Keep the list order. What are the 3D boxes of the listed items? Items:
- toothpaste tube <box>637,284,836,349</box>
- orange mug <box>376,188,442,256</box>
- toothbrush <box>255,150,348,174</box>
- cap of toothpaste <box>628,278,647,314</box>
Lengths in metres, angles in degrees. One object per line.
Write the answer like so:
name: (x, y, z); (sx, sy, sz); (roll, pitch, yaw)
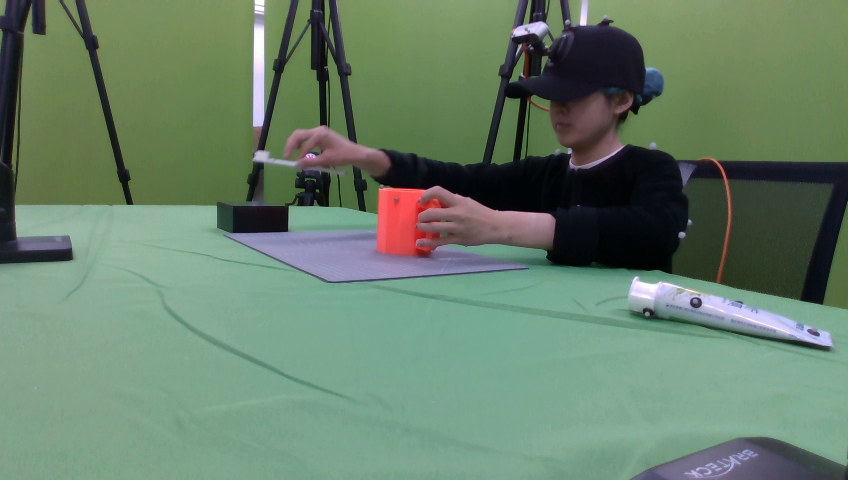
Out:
toothpaste tube: (0.275, 0.070, 0.550); (0.164, 0.034, 0.055); (11, 15, 28)
orange mug: (-0.018, -0.028, 0.914); (0.084, 0.100, 0.125); (-2, 5, -38)
toothbrush: (-0.210, -0.135, 1.059); (0.183, 0.016, 0.014); (5, 8, -42)
cap of toothpaste: (0.209, 0.055, 0.589); (0.011, 0.037, 0.037); (11, 11, 28)
